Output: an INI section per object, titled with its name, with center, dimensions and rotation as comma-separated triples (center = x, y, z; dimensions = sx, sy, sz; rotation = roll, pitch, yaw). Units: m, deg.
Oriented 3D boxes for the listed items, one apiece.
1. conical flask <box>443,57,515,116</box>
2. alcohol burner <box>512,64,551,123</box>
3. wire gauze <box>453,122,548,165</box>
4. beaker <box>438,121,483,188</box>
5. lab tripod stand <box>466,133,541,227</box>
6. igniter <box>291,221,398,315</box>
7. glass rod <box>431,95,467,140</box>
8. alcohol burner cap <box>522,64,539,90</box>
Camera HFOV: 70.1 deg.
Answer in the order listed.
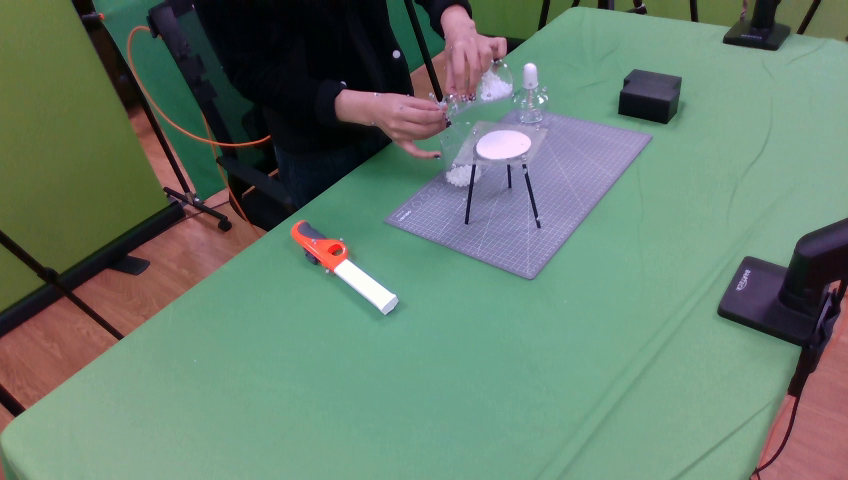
[conical flask]
center = 0.088, -0.251, 1.018
dimensions = 0.122, 0.076, 0.074
rotation = -35, 46, -23
[alcohol burner]
center = 0.215, -0.298, 1.220
dimensions = 0.078, 0.120, 0.077
rotation = -7, 40, 7
[wire gauze]
center = 0.121, -0.150, 0.942
dimensions = 0.121, 0.011, 0.125
rotation = 8, 42, 21
[beaker]
center = 0.066, -0.149, 1.083
dimensions = 0.073, 0.101, 0.084
rotation = 20, 49, 31
[lab tripod stand]
center = 0.129, -0.099, 0.985
dimensions = 0.148, 0.132, 0.147
rotation = -6, 38, 6
[igniter]
center = -0.136, 0.037, 0.962
dimensions = 0.057, 0.025, 0.274
rotation = -41, 48, -18
[glass rod]
center = 0.044, -0.201, 1.004
dimensions = 0.008, 0.201, 0.008
rotation = -3, 79, 19
[alcohol burner cap]
center = 0.210, -0.325, 1.195
dimensions = 0.034, 0.048, 0.033
rotation = -6, 45, 7
